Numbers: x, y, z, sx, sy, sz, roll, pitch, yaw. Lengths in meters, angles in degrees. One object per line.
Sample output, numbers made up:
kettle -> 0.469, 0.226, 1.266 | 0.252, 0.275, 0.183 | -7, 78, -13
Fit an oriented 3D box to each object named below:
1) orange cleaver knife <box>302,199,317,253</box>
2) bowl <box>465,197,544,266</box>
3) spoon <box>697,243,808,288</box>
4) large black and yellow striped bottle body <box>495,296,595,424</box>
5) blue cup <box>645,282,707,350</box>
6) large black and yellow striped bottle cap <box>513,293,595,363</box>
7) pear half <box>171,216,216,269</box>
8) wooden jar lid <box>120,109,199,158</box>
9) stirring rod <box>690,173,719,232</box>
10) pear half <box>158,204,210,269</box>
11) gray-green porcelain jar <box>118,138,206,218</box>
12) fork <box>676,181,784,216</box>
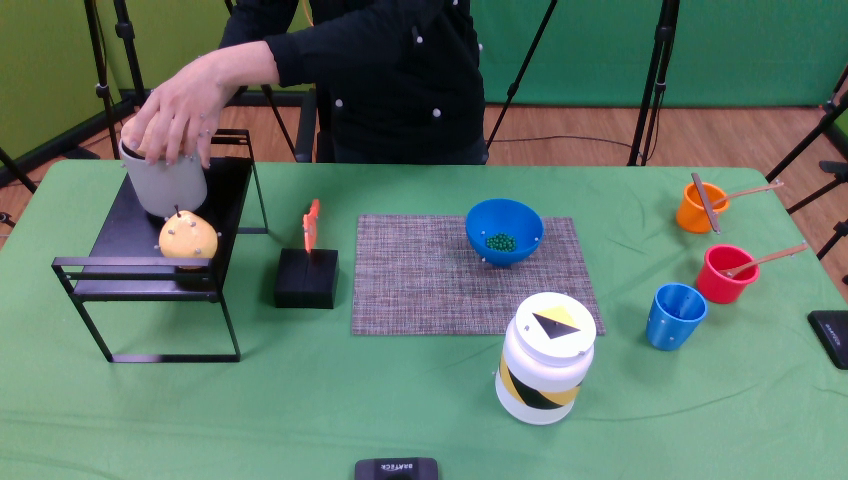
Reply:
orange cleaver knife -> -0.219, -0.031, 1.168 | 0.012, 0.077, 0.210 | -5, 17, -3
bowl -> 0.149, -0.004, 1.167 | 0.151, 0.077, 0.150 | 2, 46, -2
spoon -> 0.601, 0.045, 1.115 | 0.194, 0.022, 0.041 | -29, 35, 30
large black and yellow striped bottle body -> 0.183, 0.182, 0.923 | 0.131, 0.185, 0.130 | 2, 46, -2
blue cup -> 0.425, 0.136, 1.042 | 0.093, 0.101, 0.092 | 1, 44, -1
large black and yellow striped bottle cap -> 0.186, 0.123, 0.863 | 0.115, 0.019, 0.114 | 3, 45, -3
pear half -> -0.323, 0.007, 0.867 | 0.031, 0.088, 0.070 | 25, 45, 20
wooden jar lid -> -0.388, -0.156, 0.893 | 0.108, 0.021, 0.107 | 5, 44, -4
stirring rod -> 0.566, -0.080, 1.225 | 0.014, 0.006, 0.175 | 2, 46, 2
pear half -> -0.352, -0.015, 0.873 | 0.056, 0.110, 0.076 | 26, 45, 19
gray-green porcelain jar -> -0.402, -0.106, 0.946 | 0.106, 0.127, 0.105 | 3, 46, -3
fork -> 0.618, -0.083, 1.235 | 0.019, 0.207, 0.028 | 54, 40, -16
